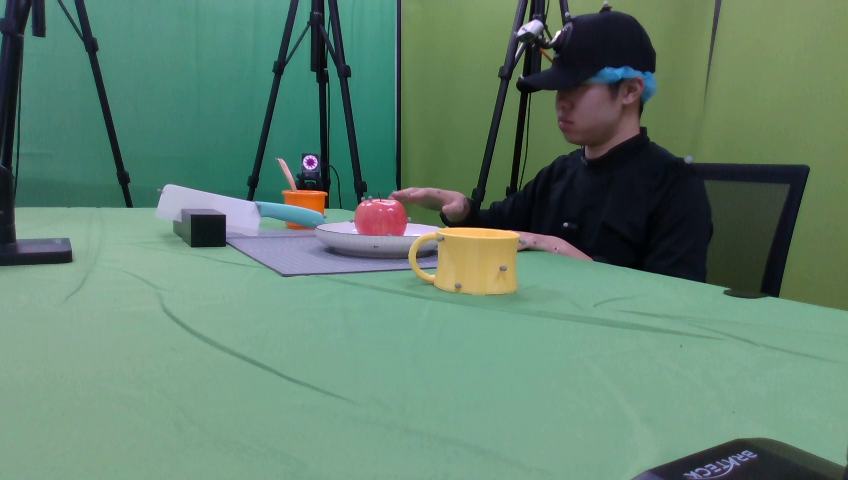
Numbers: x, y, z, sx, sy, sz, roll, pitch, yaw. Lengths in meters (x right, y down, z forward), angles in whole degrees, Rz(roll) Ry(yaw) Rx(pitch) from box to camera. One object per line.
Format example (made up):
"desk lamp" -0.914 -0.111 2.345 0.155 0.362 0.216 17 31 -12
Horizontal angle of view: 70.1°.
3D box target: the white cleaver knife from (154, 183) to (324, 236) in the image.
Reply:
"white cleaver knife" -0.310 -0.042 1.049 0.288 0.066 0.021 10 4 -28

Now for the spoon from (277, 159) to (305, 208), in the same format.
"spoon" -0.272 -0.103 1.260 0.042 0.193 0.021 -4 -34 -33

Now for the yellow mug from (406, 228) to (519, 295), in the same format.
"yellow mug" 0.044 0.022 0.707 0.131 0.064 0.100 2 7 5

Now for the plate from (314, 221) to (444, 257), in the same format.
"plate" -0.067 -0.002 0.948 0.209 0.038 0.209 3 7 0

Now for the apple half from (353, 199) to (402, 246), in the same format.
"apple half" -0.076 -0.029 0.946 0.081 0.081 0.032 0 12 -18

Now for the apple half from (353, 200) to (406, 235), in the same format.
"apple half" -0.064 -0.023 0.909 0.081 0.074 0.053 3 11 -17
